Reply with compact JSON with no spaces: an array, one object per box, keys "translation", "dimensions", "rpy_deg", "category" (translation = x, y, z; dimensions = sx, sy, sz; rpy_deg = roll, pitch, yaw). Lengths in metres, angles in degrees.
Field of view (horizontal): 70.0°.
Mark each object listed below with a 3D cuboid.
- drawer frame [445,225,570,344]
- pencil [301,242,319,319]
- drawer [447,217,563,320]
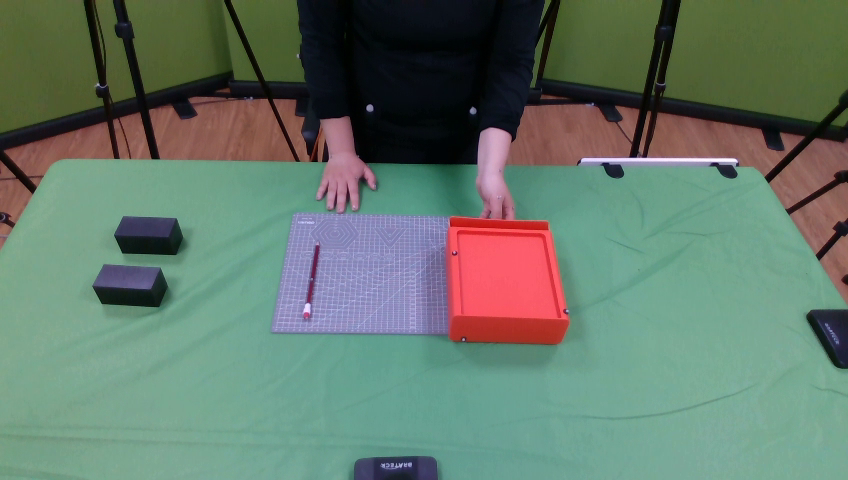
[{"translation":[0.141,0.077,1.088],"dimensions":[0.202,0.083,0.212],"rpy_deg":[2,47,-4],"category":"drawer frame"},{"translation":[-0.208,0.070,1.119],"dimensions":[0.012,0.012,0.193],"rpy_deg":[2,43,-2],"category":"pencil"},{"translation":[0.140,0.056,1.109],"dimensions":[0.194,0.073,0.210],"rpy_deg":[3,47,-3],"category":"drawer"}]
